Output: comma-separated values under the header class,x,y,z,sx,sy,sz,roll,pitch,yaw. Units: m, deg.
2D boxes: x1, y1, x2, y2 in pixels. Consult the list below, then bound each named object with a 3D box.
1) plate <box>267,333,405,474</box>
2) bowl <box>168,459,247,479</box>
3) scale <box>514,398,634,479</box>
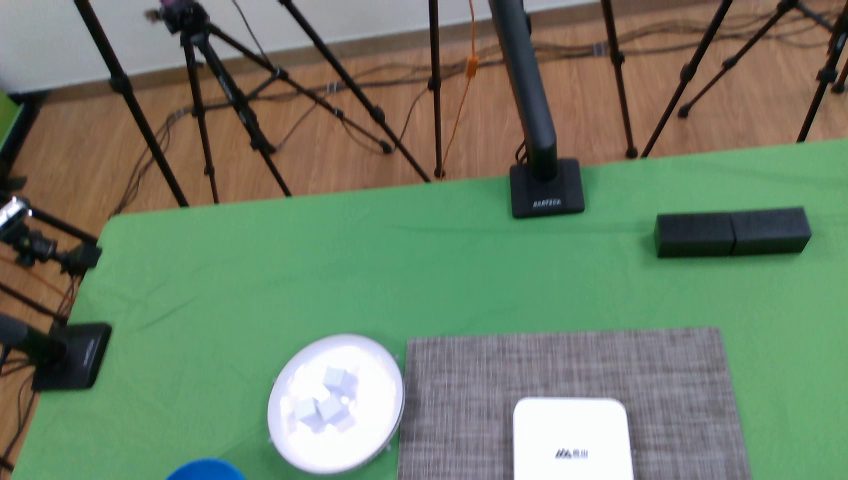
class,x,y,z,sx,sy,sz,roll,pitch,yaw
plate,-0.126,0.239,0.891,0.207,0.039,0.205,-6,57,10
bowl,-0.285,0.380,0.814,0.151,0.077,0.150,-6,57,10
scale,0.190,0.301,0.771,0.148,0.032,0.199,-4,58,12
